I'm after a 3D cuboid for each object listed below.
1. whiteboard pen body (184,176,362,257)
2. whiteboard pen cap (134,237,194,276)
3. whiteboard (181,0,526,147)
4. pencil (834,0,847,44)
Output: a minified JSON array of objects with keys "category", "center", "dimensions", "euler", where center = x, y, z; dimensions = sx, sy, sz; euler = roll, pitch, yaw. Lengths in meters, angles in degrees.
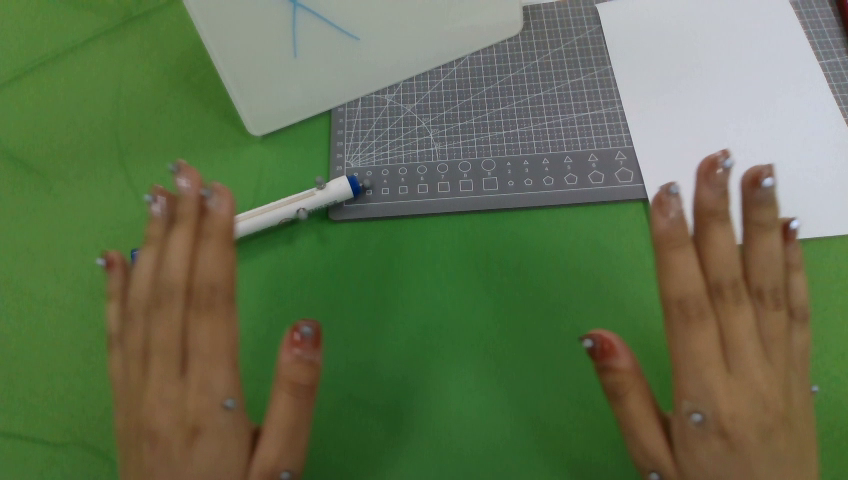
[{"category":"whiteboard pen body","center":[-0.107,-0.011,0.389],"dimensions":[0.141,0.017,0.017],"euler":[-21,64,-8]},{"category":"whiteboard pen cap","center":[-0.162,0.010,0.380],"dimensions":[0.033,0.018,0.018],"euler":[-21,64,-10]},{"category":"whiteboard","center":[-0.077,-0.255,0.382],"dimensions":[0.217,0.309,0.142],"euler":[-23,45,-6]},{"category":"pencil","center":[0.308,-0.196,0.456],"dimensions":[0.012,0.012,0.192],"euler":[0,66,5]}]
